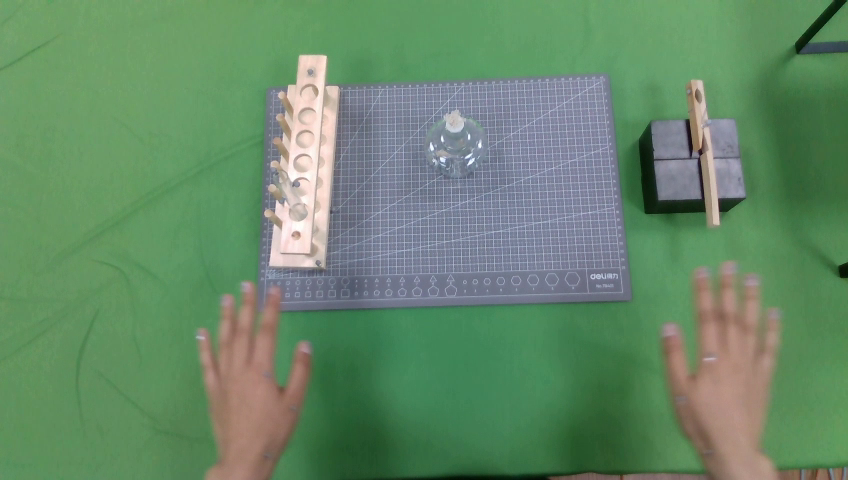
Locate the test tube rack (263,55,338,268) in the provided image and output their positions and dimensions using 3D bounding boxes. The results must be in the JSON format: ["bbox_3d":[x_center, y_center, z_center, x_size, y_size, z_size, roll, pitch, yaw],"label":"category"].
[{"bbox_3d":[-0.152,-0.093,0.731,0.067,0.085,0.241,2,76,3],"label":"test tube rack"}]

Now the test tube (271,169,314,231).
[{"bbox_3d":[-0.142,-0.039,0.666,0.017,0.151,0.017,0,70,1],"label":"test tube"}]

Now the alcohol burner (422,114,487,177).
[{"bbox_3d":[0.036,-0.120,0.716,0.078,0.119,0.077,-1,77,3],"label":"alcohol burner"}]

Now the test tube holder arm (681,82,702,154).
[{"bbox_3d":[0.317,-0.144,0.714,0.010,0.015,0.087,-2,76,-3],"label":"test tube holder arm"}]

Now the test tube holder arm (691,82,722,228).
[{"bbox_3d":[0.326,-0.101,0.703,0.013,0.015,0.177,-3,76,-4],"label":"test tube holder arm"}]
